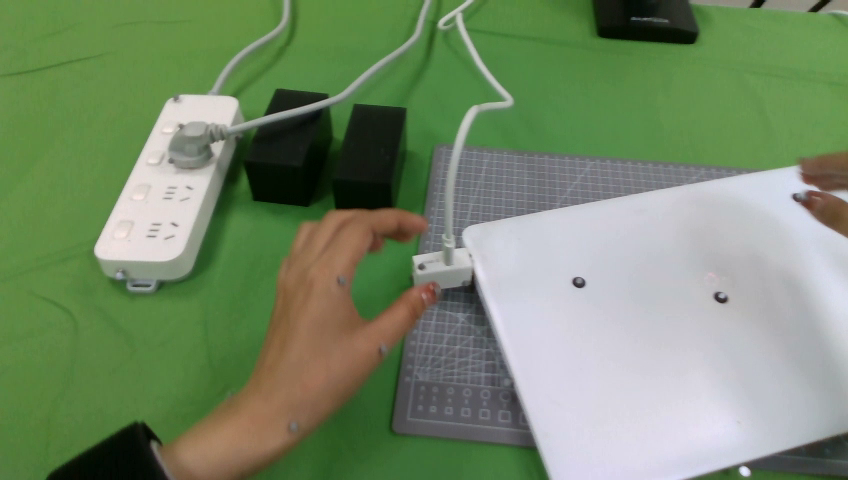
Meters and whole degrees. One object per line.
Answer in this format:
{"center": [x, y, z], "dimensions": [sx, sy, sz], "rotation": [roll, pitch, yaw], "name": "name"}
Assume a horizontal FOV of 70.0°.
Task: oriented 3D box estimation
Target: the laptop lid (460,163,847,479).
{"center": [0.226, 0.047, 0.467], "dimensions": [0.357, 0.013, 0.239], "rotation": [-9, 53, -10], "name": "laptop lid"}

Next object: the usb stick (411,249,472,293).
{"center": [0.020, 0.024, 0.478], "dimensions": [0.059, 0.027, 0.021], "rotation": [-6, 45, -12], "name": "usb stick"}

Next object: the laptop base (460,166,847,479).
{"center": [0.226, 0.053, 0.477], "dimensions": [0.355, 0.023, 0.233], "rotation": [-11, 54, -11], "name": "laptop base"}

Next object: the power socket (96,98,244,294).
{"center": [-0.219, -0.052, 0.542], "dimensions": [0.072, 0.033, 0.224], "rotation": [3, 50, -1], "name": "power socket"}

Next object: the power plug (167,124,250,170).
{"center": [-0.188, -0.073, 0.530], "dimensions": [0.072, 0.053, 0.035], "rotation": [11, 50, 7], "name": "power plug"}
